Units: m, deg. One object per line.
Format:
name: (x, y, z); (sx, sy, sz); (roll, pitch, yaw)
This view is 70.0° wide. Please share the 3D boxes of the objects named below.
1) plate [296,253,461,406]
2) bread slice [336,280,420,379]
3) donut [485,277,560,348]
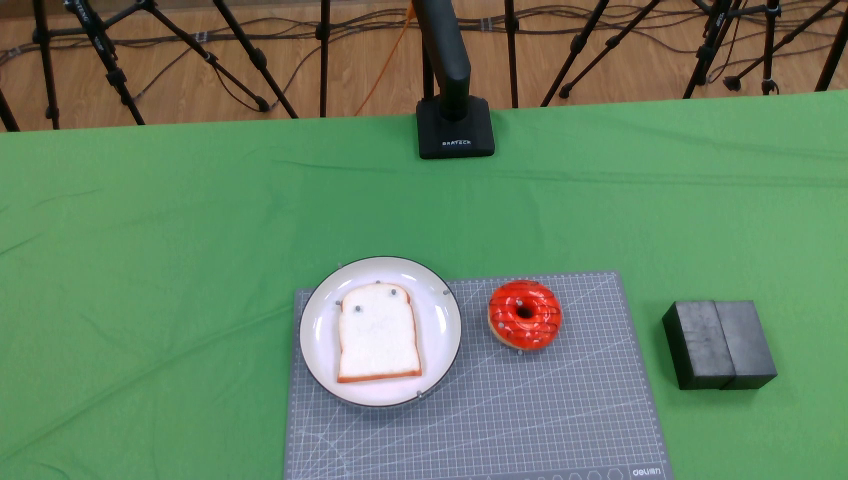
plate: (-0.057, 0.114, 0.779); (0.209, 0.038, 0.207); (1, 59, 0)
bread slice: (-0.065, 0.112, 0.782); (0.105, 0.019, 0.130); (-5, 59, -5)
donut: (0.128, 0.094, 0.788); (0.099, 0.048, 0.098); (1, 59, -2)
